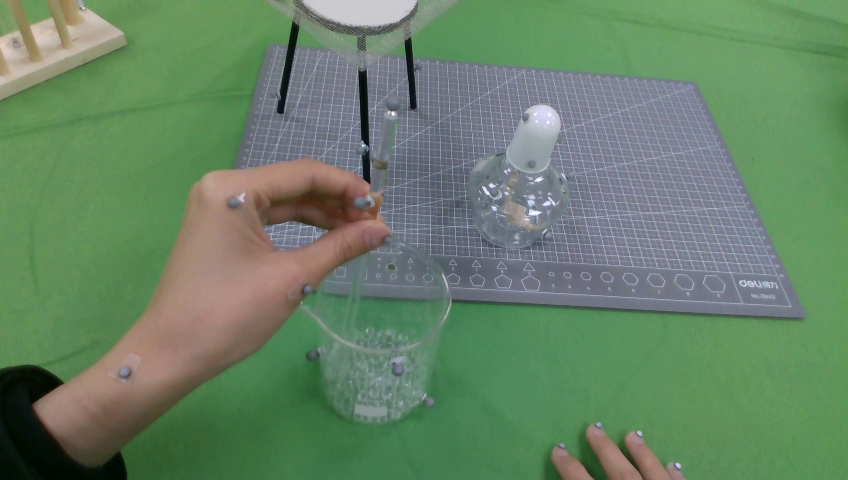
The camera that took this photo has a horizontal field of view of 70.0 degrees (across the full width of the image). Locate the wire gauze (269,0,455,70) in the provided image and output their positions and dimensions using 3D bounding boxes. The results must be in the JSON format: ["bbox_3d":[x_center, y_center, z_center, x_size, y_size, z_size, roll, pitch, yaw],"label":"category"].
[{"bbox_3d":[-0.050,-0.178,0.431,0.124,0.011,0.121,36,56,18],"label":"wire gauze"}]

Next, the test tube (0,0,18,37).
[{"bbox_3d":[-0.366,-0.234,0.488,0.017,0.151,0.017,2,48,-2],"label":"test tube"}]

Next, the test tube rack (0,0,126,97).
[{"bbox_3d":[-0.383,-0.167,0.495,0.066,0.086,0.242,35,54,19],"label":"test tube rack"}]

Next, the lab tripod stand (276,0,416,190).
[{"bbox_3d":[-0.055,-0.135,0.483,0.149,0.132,0.147,5,51,-6],"label":"lab tripod stand"}]

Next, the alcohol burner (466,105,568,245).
[{"bbox_3d":[0.072,-0.052,0.446,0.078,0.120,0.077,5,49,-6],"label":"alcohol burner"}]

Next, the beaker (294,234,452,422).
[{"bbox_3d":[-0.030,0.057,0.356,0.084,0.101,0.073,-4,51,-10],"label":"beaker"}]

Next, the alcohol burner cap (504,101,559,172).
[{"bbox_3d":[0.077,-0.073,0.418,0.034,0.048,0.033,4,55,-5],"label":"alcohol burner cap"}]

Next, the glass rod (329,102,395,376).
[{"bbox_3d":[-0.037,0.014,0.322,0.008,0.201,0.008,9,43,-8],"label":"glass rod"}]
